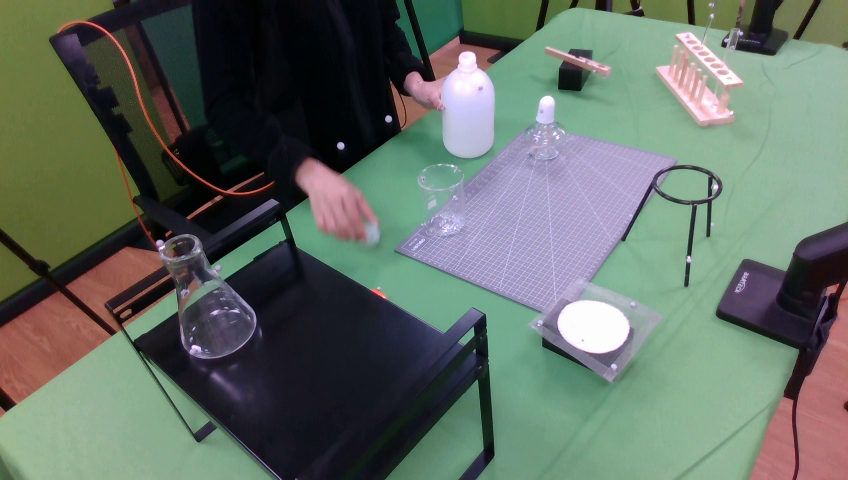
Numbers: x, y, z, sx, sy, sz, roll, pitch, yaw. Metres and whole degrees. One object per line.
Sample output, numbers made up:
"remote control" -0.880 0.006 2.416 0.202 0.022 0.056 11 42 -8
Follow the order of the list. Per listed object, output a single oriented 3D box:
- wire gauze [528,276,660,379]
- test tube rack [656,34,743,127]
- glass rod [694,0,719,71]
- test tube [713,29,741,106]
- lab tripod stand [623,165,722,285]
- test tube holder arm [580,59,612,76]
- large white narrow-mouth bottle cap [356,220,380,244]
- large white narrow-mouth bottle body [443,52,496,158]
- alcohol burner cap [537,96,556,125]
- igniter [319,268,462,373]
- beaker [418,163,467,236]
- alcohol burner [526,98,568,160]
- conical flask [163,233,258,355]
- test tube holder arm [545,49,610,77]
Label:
"wire gauze" 0.214 0.103 0.763 0.124 0.011 0.122 30 52 35
"test tube rack" 0.553 -0.330 1.233 0.067 0.085 0.241 -7 40 2
"glass rod" 0.560 -0.401 1.214 0.008 0.200 0.008 -1 48 2
"test tube" 0.572 -0.324 1.146 0.017 0.151 0.017 -3 39 3
"lab tripod stand" 0.365 -0.030 0.874 0.148 0.132 0.147 -6 41 6
"test tube holder arm" 0.363 -0.368 1.289 0.010 0.015 0.087 -27 43 -29
"large white narrow-mouth bottle cap" -0.088 -0.013 0.953 0.038 0.024 0.037 -4 41 4
"large white narrow-mouth bottle body" 0.085 -0.257 1.133 0.102 0.195 0.101 -2 45 3
"alcohol burner cap" 0.223 -0.237 1.095 0.034 0.048 0.033 -1 42 1
"igniter" -0.059 0.107 0.862 0.274 0.025 0.057 28 62 34
"beaker" 0.035 -0.065 0.990 0.073 0.101 0.084 24 49 32
"alcohol burner" 0.228 -0.209 1.118 0.078 0.119 0.077 -5 43 5
"conical flask" -0.217 0.051 0.601 0.075 0.122 0.075 -4 40 4
"test tube holder arm" 0.331 -0.387 1.315 0.013 0.015 0.177 -26 43 -29
